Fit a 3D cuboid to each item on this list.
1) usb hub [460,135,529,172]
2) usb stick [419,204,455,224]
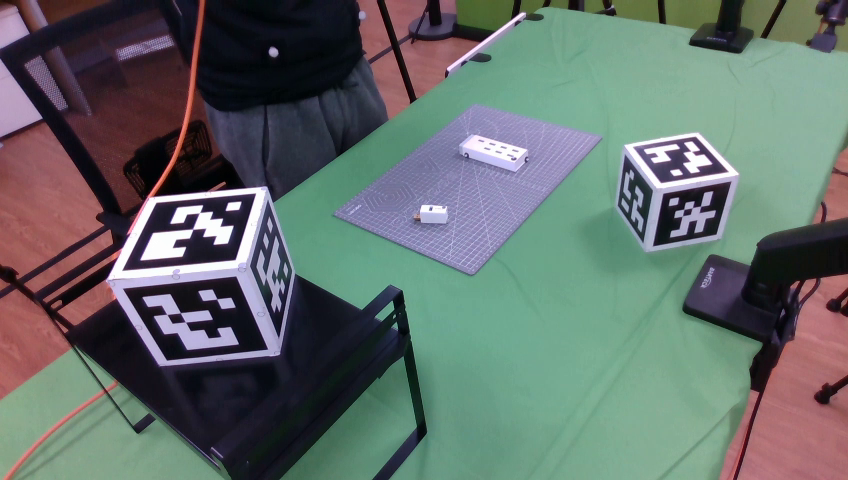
[{"bbox_3d":[0.132,-0.164,1.137,0.124,0.025,0.049,22,49,30],"label":"usb hub"},{"bbox_3d":[0.024,-0.042,1.005,0.059,0.027,0.021,10,70,17],"label":"usb stick"}]
